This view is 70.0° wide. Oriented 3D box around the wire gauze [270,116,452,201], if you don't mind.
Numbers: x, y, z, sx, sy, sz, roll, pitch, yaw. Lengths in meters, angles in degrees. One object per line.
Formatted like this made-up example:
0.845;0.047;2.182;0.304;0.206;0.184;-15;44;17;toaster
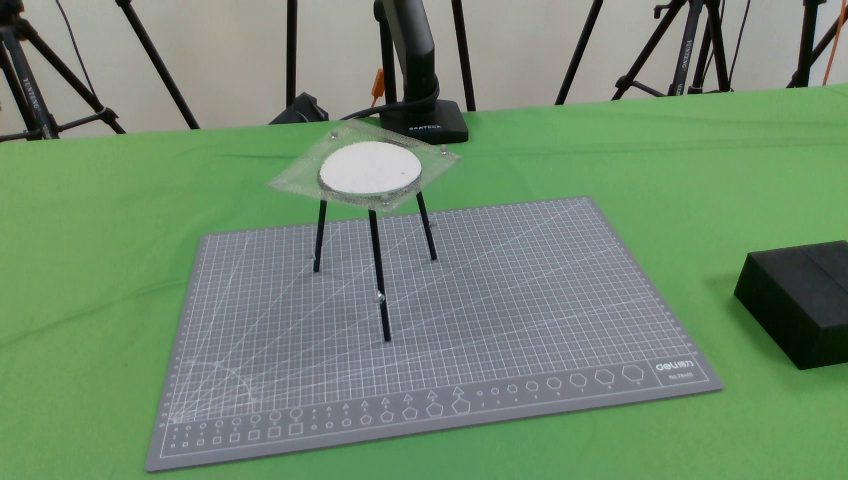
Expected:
-0.045;-0.074;0.499;0.125;0.011;0.120;12;34;3;wire gauze

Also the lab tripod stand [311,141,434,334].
-0.046;-0.010;0.552;0.148;0.132;0.147;1;38;0;lab tripod stand
